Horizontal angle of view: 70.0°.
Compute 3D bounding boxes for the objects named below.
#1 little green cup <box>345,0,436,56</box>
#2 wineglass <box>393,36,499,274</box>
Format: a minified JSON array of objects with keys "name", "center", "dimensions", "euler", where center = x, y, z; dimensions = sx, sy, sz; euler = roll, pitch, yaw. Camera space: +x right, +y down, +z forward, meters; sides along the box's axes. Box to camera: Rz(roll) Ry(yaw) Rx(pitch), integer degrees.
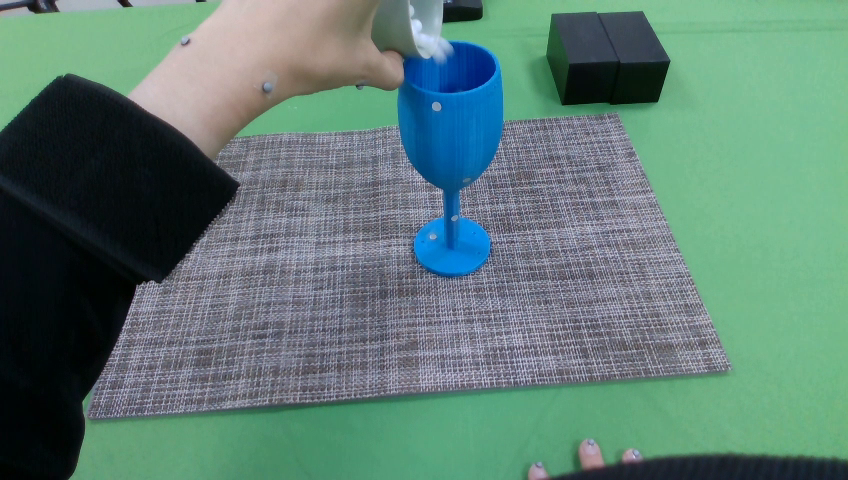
[{"name":"little green cup","center":[-0.020,-0.142,0.362],"dimensions":[0.038,0.062,0.061],"euler":[7,49,18]},{"name":"wineglass","center":[0.017,-0.054,0.443],"dimensions":[0.074,0.174,0.073],"euler":[-1,49,2]}]
